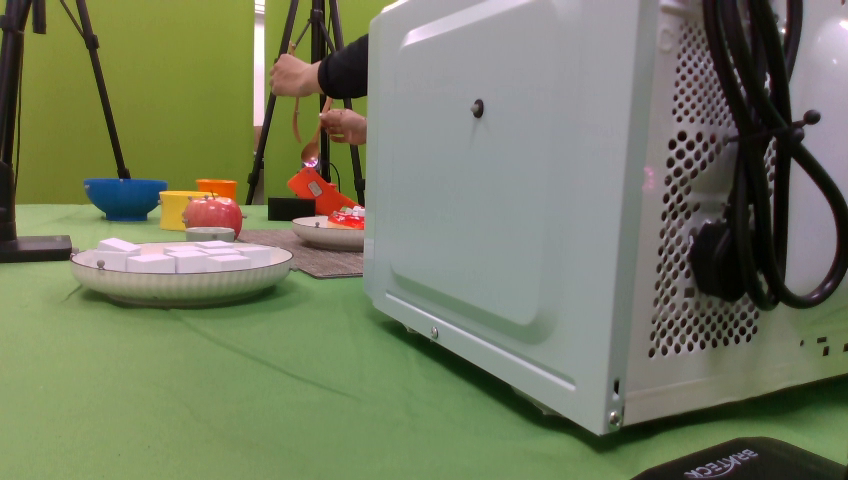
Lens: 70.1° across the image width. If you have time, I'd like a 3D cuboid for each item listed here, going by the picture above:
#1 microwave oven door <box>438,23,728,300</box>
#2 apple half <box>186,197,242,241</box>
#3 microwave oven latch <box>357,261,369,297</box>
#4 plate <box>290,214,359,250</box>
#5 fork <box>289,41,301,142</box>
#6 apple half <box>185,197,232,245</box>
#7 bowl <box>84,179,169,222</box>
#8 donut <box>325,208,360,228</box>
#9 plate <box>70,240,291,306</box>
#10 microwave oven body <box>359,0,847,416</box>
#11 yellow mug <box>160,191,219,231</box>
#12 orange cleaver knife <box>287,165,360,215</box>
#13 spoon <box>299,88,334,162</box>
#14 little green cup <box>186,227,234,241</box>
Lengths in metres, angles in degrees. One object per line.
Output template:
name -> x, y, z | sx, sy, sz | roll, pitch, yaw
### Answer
microwave oven door -> 0.181, -0.072, 0.621 | 0.358, 0.243, 0.039 | -2, 8, -29
apple half -> -0.307, -0.026, 0.905 | 0.053, 0.074, 0.081 | 14, 9, 37
microwave oven latch -> -0.019, 0.033, 0.530 | 0.079, 0.029, 0.030 | -1, 7, -27
plate -> -0.110, -0.014, 0.974 | 0.209, 0.038, 0.209 | 3, 8, 0
fork -> -0.271, -0.310, 1.268 | 0.018, 0.207, 0.028 | 1, 8, 7
apple half -> -0.337, -0.031, 0.927 | 0.032, 0.081, 0.082 | 13, 13, 38
bowl -> -0.584, -0.078, 1.194 | 0.151, 0.077, 0.151 | 3, 8, 0
donut -> -0.110, -0.025, 0.974 | 0.099, 0.048, 0.099 | 5, 8, 0
plate -> -0.242, 0.032, 0.618 | 0.208, 0.039, 0.207 | 2, 8, 0
microwave oven body -> 0.211, -0.047, 0.474 | 0.444, 0.260, 0.324 | -1, 7, -28
yellow mug -> -0.416, -0.053, 1.103 | 0.130, 0.064, 0.100 | 7, 8, 27
orange cleaver knife -> -0.211, -0.092, 1.382 | 0.212, 0.077, 0.012 | 34, 2, -15
spoon -> -0.249, -0.275, 1.442 | 0.041, 0.193, 0.021 | 20, -3, 5
little green cup -> -0.285, 0.005, 0.805 | 0.061, 0.038, 0.061 | 2, 8, 0
